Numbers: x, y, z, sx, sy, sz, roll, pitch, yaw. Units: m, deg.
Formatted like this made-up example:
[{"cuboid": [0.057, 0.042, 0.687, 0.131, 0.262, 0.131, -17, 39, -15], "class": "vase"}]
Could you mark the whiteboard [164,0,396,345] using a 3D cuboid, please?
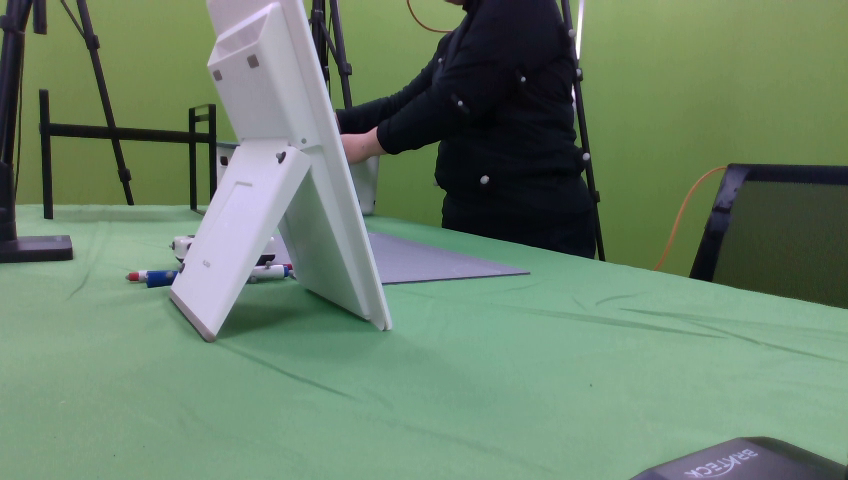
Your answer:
[{"cuboid": [-0.172, -0.053, 0.511, 0.144, 0.305, 0.216, -23, 19, -26], "class": "whiteboard"}]

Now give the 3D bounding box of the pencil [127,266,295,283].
[{"cuboid": [-0.231, 0.037, 0.691, 0.195, 0.012, 0.012, -2, 9, -34], "class": "pencil"}]

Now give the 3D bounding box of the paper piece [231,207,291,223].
[{"cuboid": [-0.395, -0.062, 1.461, 0.139, 0.008, 0.135, 13, -4, -22], "class": "paper piece"}]

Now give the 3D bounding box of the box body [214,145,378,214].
[{"cuboid": [-0.329, -0.154, 1.543, 0.366, 0.160, 0.253, -2, 9, -32], "class": "box body"}]

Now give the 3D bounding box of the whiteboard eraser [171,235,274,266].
[{"cuboid": [-0.248, 0.014, 0.747, 0.113, 0.042, 0.055, -1, 9, -32], "class": "whiteboard eraser"}]

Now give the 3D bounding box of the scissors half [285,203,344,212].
[{"cuboid": [-0.280, -0.081, 1.552, 0.040, 0.013, 0.176, 1, 9, 45], "class": "scissors half"}]

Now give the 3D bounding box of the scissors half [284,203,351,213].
[{"cuboid": [-0.268, -0.079, 1.535, 0.176, 0.013, 0.040, -7, 12, -23], "class": "scissors half"}]

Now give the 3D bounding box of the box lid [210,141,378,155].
[{"cuboid": [-0.330, -0.232, 1.526, 0.373, 0.015, 0.262, -2, 10, -32], "class": "box lid"}]

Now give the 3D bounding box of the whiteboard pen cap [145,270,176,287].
[{"cuboid": [-0.271, 0.039, 0.627, 0.033, 0.018, 0.018, -4, 10, -32], "class": "whiteboard pen cap"}]

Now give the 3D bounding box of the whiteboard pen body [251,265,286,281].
[{"cuboid": [-0.220, 0.039, 0.656, 0.141, 0.017, 0.017, -2, 9, -30], "class": "whiteboard pen body"}]
